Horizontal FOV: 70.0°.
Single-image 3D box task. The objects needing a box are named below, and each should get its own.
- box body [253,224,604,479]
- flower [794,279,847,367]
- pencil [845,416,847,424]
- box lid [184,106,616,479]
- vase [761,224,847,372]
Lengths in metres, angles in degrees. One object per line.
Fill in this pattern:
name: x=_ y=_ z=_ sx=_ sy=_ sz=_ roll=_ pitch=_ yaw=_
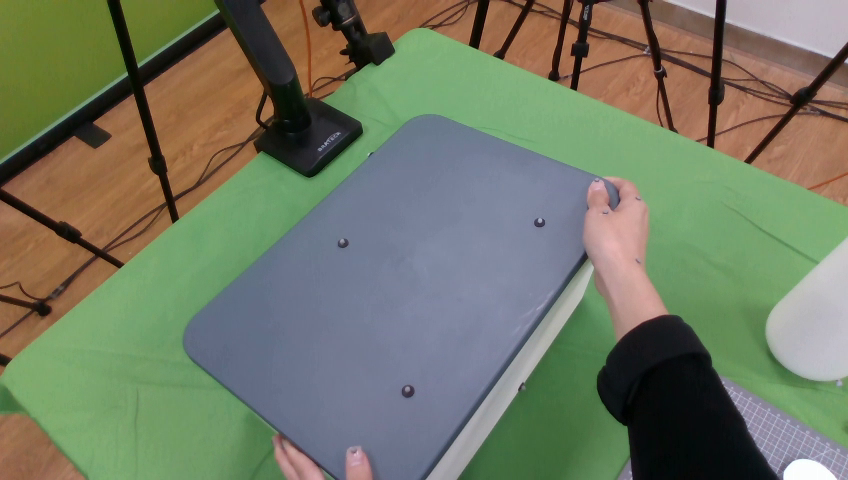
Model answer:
box body: x=-0.009 y=0.068 z=0.636 sx=0.252 sy=0.162 sz=0.363 roll=30 pitch=62 yaw=23
flower: x=0.409 y=-0.008 z=0.536 sx=0.044 sy=0.365 sz=0.038 roll=24 pitch=43 yaw=23
pencil: x=0.527 y=0.179 z=0.614 sx=0.194 sy=0.012 sz=0.012 roll=-3 pitch=55 yaw=1
box lid: x=-0.014 y=0.019 z=0.568 sx=0.261 sy=0.015 sz=0.370 roll=28 pitch=62 yaw=26
vase: x=0.412 y=0.052 z=0.595 sx=0.098 sy=0.202 sz=0.097 roll=-2 pitch=54 yaw=3
